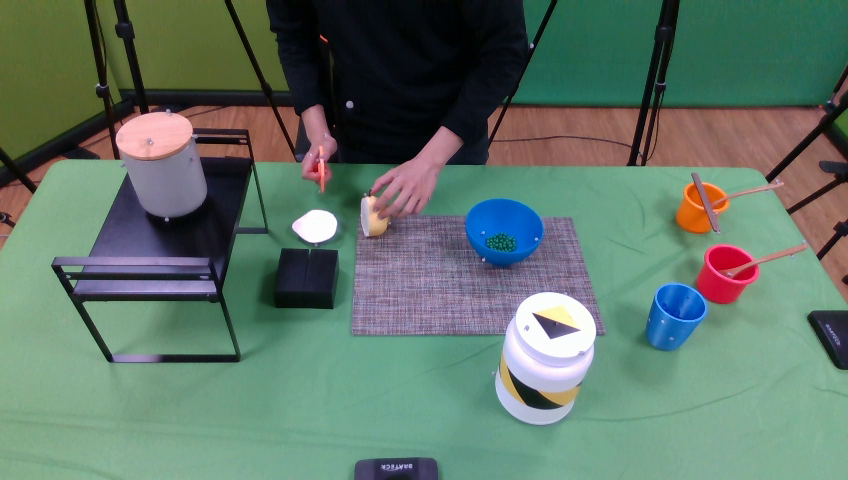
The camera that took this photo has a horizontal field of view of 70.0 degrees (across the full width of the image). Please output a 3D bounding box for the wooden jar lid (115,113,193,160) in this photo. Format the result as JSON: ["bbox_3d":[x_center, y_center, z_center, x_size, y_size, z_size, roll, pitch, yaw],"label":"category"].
[{"bbox_3d":[-0.399,-0.151,0.900,0.108,0.021,0.107,3,46,-3],"label":"wooden jar lid"}]

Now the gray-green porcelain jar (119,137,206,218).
[{"bbox_3d":[-0.403,-0.106,0.946,0.106,0.127,0.105,3,46,-2],"label":"gray-green porcelain jar"}]

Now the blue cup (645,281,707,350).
[{"bbox_3d":[0.425,0.136,1.042,0.093,0.101,0.092,1,45,-1],"label":"blue cup"}]

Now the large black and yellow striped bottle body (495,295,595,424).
[{"bbox_3d":[0.183,0.182,0.923,0.131,0.185,0.130,2,46,-2],"label":"large black and yellow striped bottle body"}]

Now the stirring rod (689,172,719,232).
[{"bbox_3d":[0.565,-0.080,1.224,0.014,0.006,0.175,3,46,1],"label":"stirring rod"}]

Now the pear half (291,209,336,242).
[{"bbox_3d":[-0.216,-0.023,1.195,0.088,0.031,0.070,0,59,7],"label":"pear half"}]

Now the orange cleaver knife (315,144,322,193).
[{"bbox_3d":[-0.205,-0.131,1.182,0.012,0.211,0.077,-4,87,-11],"label":"orange cleaver knife"}]

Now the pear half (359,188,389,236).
[{"bbox_3d":[-0.096,-0.060,1.180,0.056,0.110,0.076,-13,53,-18],"label":"pear half"}]

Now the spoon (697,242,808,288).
[{"bbox_3d":[0.601,0.045,1.115,0.194,0.022,0.041,-29,35,30],"label":"spoon"}]

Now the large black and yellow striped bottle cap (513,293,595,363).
[{"bbox_3d":[0.186,0.123,0.863,0.115,0.019,0.114,3,45,-3],"label":"large black and yellow striped bottle cap"}]

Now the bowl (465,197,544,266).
[{"bbox_3d":[0.149,-0.004,1.167,0.151,0.077,0.150,3,46,-2],"label":"bowl"}]

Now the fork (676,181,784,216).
[{"bbox_3d":[0.618,-0.083,1.235,0.019,0.207,0.028,55,40,-15],"label":"fork"}]
